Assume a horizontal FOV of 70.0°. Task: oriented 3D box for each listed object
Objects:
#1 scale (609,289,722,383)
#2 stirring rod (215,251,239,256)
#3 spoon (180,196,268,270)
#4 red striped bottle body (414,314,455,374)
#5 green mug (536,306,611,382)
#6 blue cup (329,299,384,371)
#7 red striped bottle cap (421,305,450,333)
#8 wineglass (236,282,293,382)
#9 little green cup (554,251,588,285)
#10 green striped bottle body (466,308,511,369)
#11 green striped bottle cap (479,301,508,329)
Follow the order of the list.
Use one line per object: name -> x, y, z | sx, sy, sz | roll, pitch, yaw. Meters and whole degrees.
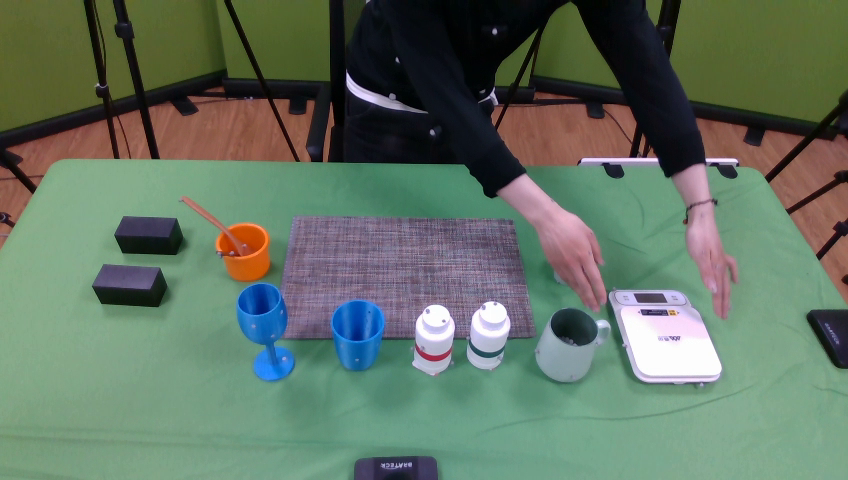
scale -> 0.419, 0.159, 1.066 | 0.149, 0.032, 0.199 | 1, 46, -4
stirring rod -> -0.339, 0.024, 1.059 | 0.014, 0.176, 0.006 | 16, 86, -6
spoon -> -0.359, -0.014, 1.094 | 0.021, 0.194, 0.041 | -28, 26, 31
red striped bottle body -> 0.016, 0.158, 0.976 | 0.063, 0.120, 0.062 | 1, 46, -1
green mug -> 0.250, 0.167, 0.996 | 0.125, 0.105, 0.092 | -15, 49, -18
blue cup -> -0.108, 0.159, 0.978 | 0.093, 0.101, 0.092 | 3, 46, -3
red striped bottle cap -> 0.018, 0.122, 0.938 | 0.044, 0.018, 0.044 | 3, 43, -2
wineglass -> -0.243, 0.143, 0.934 | 0.074, 0.173, 0.073 | 2, 46, -2
little green cup -> 0.277, 0.055, 1.151 | 0.061, 0.039, 0.061 | 2, 44, -2
green striped bottle body -> 0.105, 0.154, 0.987 | 0.063, 0.120, 0.063 | 2, 46, -2
green striped bottle cap -> 0.109, 0.118, 0.949 | 0.044, 0.020, 0.044 | 2, 45, -1
